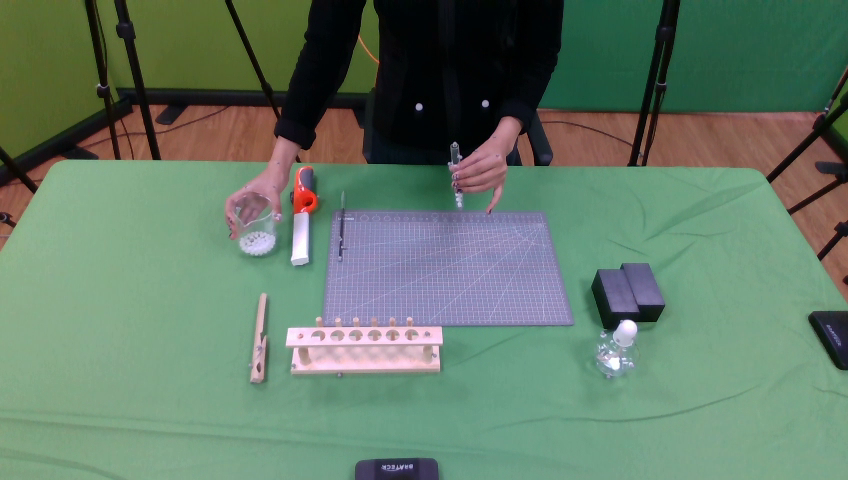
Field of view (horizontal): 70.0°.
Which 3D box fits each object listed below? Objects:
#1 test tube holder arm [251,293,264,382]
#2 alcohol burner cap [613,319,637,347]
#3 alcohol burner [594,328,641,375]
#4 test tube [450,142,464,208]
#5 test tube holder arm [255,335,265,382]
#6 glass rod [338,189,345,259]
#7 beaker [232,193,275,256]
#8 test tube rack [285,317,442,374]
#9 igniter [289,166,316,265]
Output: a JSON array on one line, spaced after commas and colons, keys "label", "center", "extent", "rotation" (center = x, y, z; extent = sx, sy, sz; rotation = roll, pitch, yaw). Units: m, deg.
[{"label": "test tube holder arm", "center": [-0.281, 0.160, 1.025], "extent": [0.013, 0.015, 0.177], "rotation": [23, 36, -32]}, {"label": "alcohol burner cap", "center": [0.323, 0.146, 0.966], "extent": [0.034, 0.048, 0.033], "rotation": [-1, 52, 2]}, {"label": "alcohol burner", "center": [0.322, 0.170, 0.994], "extent": [0.078, 0.119, 0.077], "rotation": [3, 48, -3]}, {"label": "test tube", "center": [0.060, -0.114, 1.103], "extent": [0.017, 0.151, 0.017], "rotation": [-4, 47, 4]}, {"label": "test tube holder arm", "center": [-0.270, 0.193, 0.997], "extent": [0.010, 0.015, 0.087], "rotation": [24, 36, -32]}, {"label": "glass rod", "center": [-0.166, -0.037, 1.227], "extent": [0.008, 0.008, 0.198], "rotation": [-1, 47, -4]}, {"label": "beaker", "center": [-0.317, -0.024, 1.134], "extent": [0.074, 0.101, 0.083], "rotation": [11, 45, 2]}, {"label": "test tube rack", "center": [-0.095, 0.166, 0.988], "extent": [0.242, 0.085, 0.066], "rotation": [0, 46, -4]}, {"label": "igniter", "center": [-0.248, -0.058, 1.233], "extent": [0.057, 0.025, 0.274], "rotation": [-9, 47, 1]}]
